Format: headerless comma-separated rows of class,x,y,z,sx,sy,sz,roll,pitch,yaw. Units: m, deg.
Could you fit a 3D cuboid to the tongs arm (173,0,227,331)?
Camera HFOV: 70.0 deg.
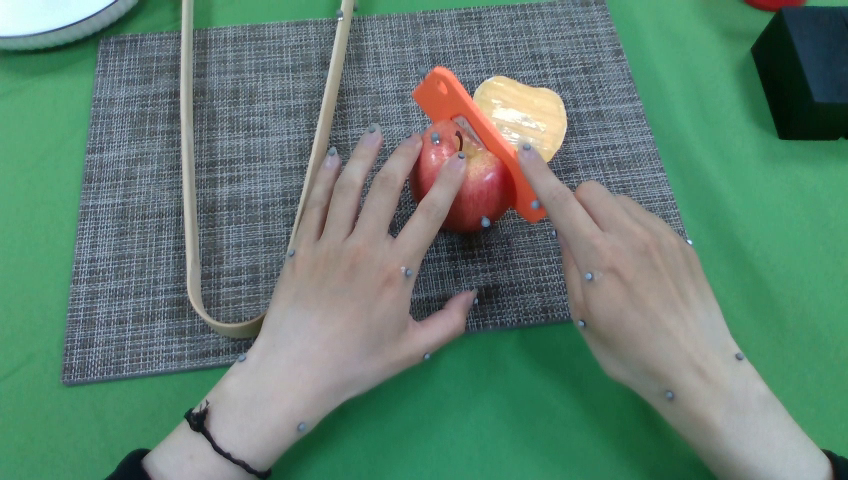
tongs arm,-0.183,-0.112,0.480,0.028,0.028,0.384,-8,66,-10

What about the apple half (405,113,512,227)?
apple half,0.017,-0.041,0.430,0.080,0.075,0.053,42,74,13

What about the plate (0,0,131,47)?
plate,-0.339,-0.247,0.534,0.209,0.038,0.207,1,65,-2

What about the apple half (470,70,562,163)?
apple half,0.066,-0.091,0.477,0.081,0.033,0.081,2,77,-10

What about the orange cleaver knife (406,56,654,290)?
orange cleaver knife,0.065,-0.042,0.408,0.211,0.077,0.012,45,74,4

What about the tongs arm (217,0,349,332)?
tongs arm,-0.099,-0.114,0.483,0.051,0.027,0.382,4,66,-1
